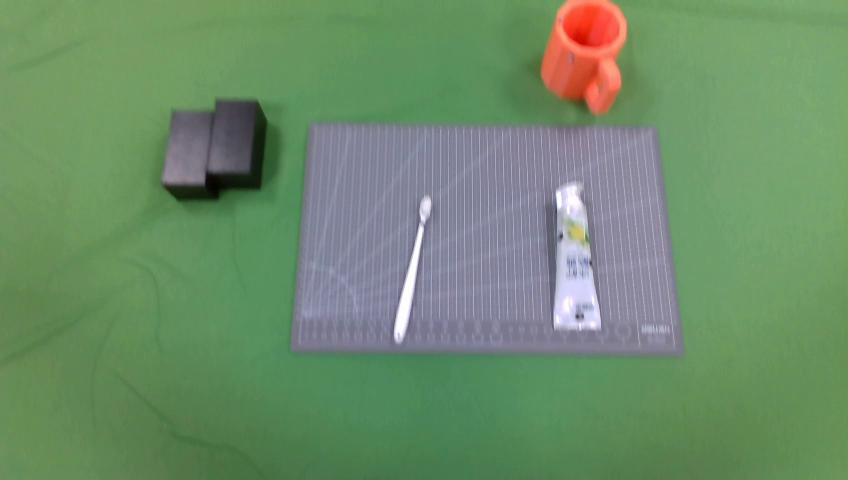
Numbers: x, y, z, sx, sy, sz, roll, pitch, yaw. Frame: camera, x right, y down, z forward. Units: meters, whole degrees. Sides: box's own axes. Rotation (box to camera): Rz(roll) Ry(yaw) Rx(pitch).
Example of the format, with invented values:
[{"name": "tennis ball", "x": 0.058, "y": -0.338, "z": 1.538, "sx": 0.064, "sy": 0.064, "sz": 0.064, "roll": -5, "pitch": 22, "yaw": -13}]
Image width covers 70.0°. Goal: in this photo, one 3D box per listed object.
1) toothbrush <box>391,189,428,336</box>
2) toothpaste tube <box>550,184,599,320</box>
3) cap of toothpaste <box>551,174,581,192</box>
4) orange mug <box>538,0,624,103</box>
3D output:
[{"name": "toothbrush", "x": -0.016, "y": 0.023, "z": 0.713, "sx": 0.014, "sy": 0.016, "sz": 0.181, "roll": 14, "pitch": 74, "yaw": -11}, {"name": "toothpaste tube", "x": 0.172, "y": 0.012, "z": 0.715, "sx": 0.055, "sy": 0.035, "sz": 0.164, "roll": -2, "pitch": 76, "yaw": 6}, {"name": "cap of toothpaste", "x": 0.173, "y": -0.067, "z": 0.733, "sx": 0.037, "sy": 0.037, "sz": 0.011, "roll": -11, "pitch": 70, "yaw": -5}, {"name": "orange mug", "x": 0.201, "y": -0.240, "z": 0.759, "sx": 0.083, "sy": 0.101, "sz": 0.125, "roll": -20, "pitch": 69, "yaw": -7}]
